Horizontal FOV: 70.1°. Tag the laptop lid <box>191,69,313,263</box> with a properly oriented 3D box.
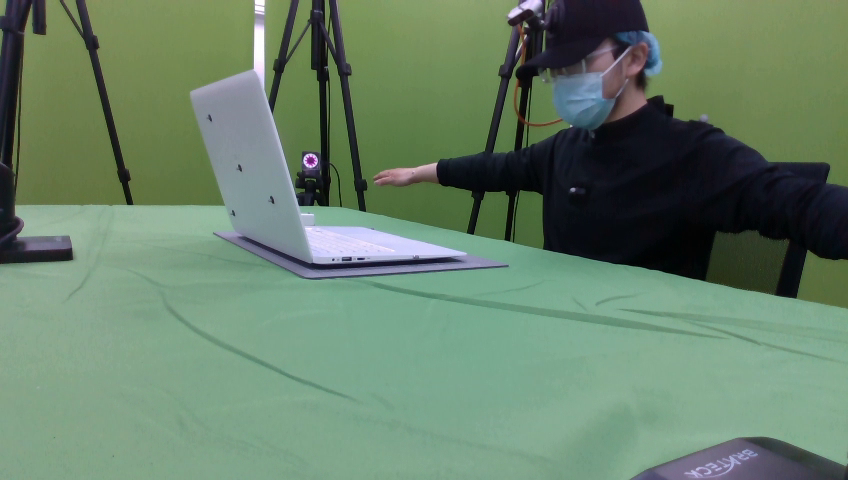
[{"bbox_3d":[-0.252,-0.102,0.839,0.013,0.242,0.355,-22,20,-28],"label":"laptop lid"}]

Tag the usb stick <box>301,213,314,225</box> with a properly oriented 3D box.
[{"bbox_3d":[-0.255,-0.042,1.232,0.059,0.027,0.021,-7,13,-41],"label":"usb stick"}]

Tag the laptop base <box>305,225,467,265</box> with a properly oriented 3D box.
[{"bbox_3d":[-0.126,0.005,0.937,0.237,0.023,0.352,2,6,-33],"label":"laptop base"}]
